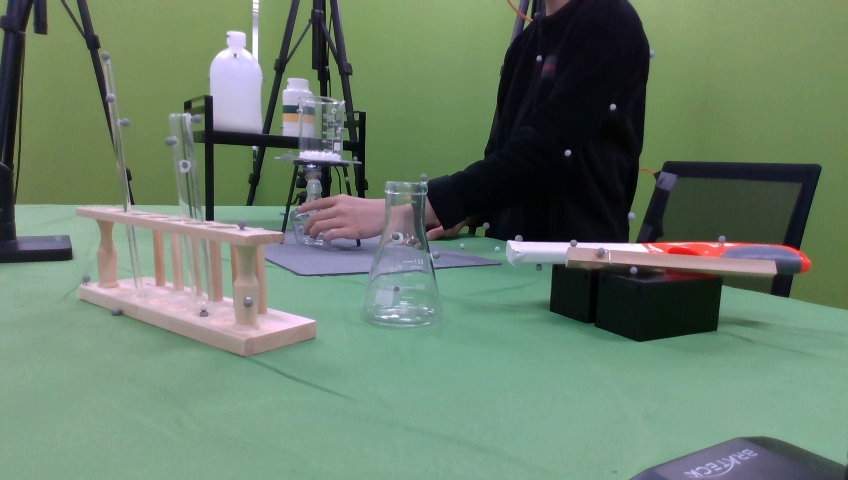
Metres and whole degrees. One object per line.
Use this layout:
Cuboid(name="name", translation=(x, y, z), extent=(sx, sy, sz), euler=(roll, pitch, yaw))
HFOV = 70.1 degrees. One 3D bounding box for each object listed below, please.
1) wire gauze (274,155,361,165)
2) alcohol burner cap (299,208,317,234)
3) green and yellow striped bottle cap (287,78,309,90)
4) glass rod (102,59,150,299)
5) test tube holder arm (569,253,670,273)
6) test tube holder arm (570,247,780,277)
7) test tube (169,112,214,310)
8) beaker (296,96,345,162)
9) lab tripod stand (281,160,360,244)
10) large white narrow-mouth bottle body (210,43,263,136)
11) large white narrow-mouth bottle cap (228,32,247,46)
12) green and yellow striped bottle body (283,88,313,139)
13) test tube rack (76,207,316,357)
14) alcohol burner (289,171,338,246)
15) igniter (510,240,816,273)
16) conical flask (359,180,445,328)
Cuboid(name="wire gauze", translation=(-0.174, -0.129, 0.978), extent=(0.125, 0.011, 0.121), euler=(-2, 6, -19))
Cuboid(name="alcohol burner cap", translation=(-0.213, -0.035, 1.110), extent=(0.034, 0.048, 0.034), euler=(3, 7, 0))
Cuboid(name="green and yellow striped bottle cap", translation=(-0.265, -0.326, 1.268), extent=(0.045, 0.020, 0.045), euler=(4, 6, 0))
Cuboid(name="glass rod", translation=(-0.244, -0.045, 0.496), extent=(0.008, 0.199, 0.008), euler=(-3, 12, 1))
Cuboid(name="test tube holder arm", translation=(0.172, 0.019, 0.532), extent=(0.088, 0.015, 0.010), euler=(3, -23, 3))
Cuboid(name="test tube holder arm", translation=(0.217, 0.019, 0.525), extent=(0.178, 0.015, 0.013), euler=(3, -23, 3))
Cuboid(name="test tube", translation=(-0.175, -0.020, 0.455), extent=(0.017, 0.150, 0.017), euler=(-3, 9, 1))
Cuboid(name="beaker", translation=(-0.163, -0.175, 0.966), extent=(0.083, 0.100, 0.074), euler=(8, 8, 34))
Cuboid(name="lab tripod stand", translation=(-0.170, -0.063, 0.983), extent=(0.148, 0.131, 0.148), euler=(1, 6, 0))
Cuboid(name="large white narrow-mouth bottle body", translation=(-0.369, -0.305, 1.194), extent=(0.102, 0.194, 0.102), euler=(3, 8, 0))
Cuboid(name="large white narrow-mouth bottle cap", translation=(-0.364, -0.391, 1.180), extent=(0.038, 0.024, 0.037), euler=(3, 8, 0))
Cuboid(name="green and yellow striped bottle body", translation=(-0.266, -0.275, 1.275), extent=(0.063, 0.119, 0.063), euler=(2, 7, 0))
Cuboid(name="test tube rack", translation=(-0.196, 0.023, 0.500), extent=(0.241, 0.085, 0.067), euler=(8, 9, 36))
Cuboid(name="alcohol burner", translation=(-0.177, -0.051, 0.968), extent=(0.078, 0.119, 0.078), euler=(0, 6, 0))
Cuboid(name="igniter", translation=(0.220, 0.015, 0.565), extent=(0.277, 0.025, 0.057), euler=(2, 16, 0))
Cuboid(name="conical flask", translation=(-0.017, 0.010, 0.522), extent=(0.075, 0.122, 0.075), euler=(2, 7, 0))
